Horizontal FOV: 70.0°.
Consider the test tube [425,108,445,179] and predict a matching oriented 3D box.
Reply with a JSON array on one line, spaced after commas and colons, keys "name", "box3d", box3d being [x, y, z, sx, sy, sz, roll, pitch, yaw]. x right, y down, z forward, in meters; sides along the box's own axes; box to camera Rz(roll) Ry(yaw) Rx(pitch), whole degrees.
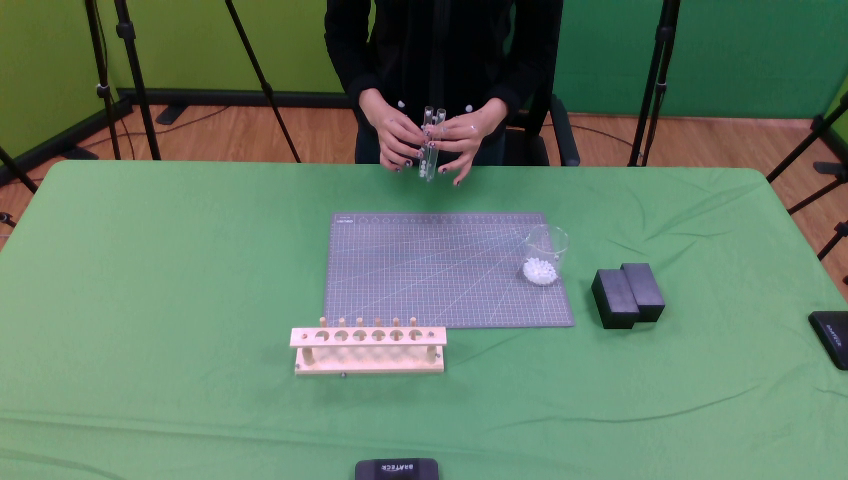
[{"name": "test tube", "box3d": [0.019, -0.168, 1.077, 0.017, 0.151, 0.017, 6, 45, -6]}]

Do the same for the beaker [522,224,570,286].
[{"name": "beaker", "box3d": [0.221, 0.032, 1.129, 0.084, 0.101, 0.073, -6, 46, -9]}]

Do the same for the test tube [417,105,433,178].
[{"name": "test tube", "box3d": [0.001, -0.176, 1.104, 0.017, 0.151, 0.017, 4, 42, -4]}]

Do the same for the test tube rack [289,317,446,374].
[{"name": "test tube rack", "box3d": [-0.089, 0.167, 0.988, 0.242, 0.085, 0.066, 0, 46, -4]}]
